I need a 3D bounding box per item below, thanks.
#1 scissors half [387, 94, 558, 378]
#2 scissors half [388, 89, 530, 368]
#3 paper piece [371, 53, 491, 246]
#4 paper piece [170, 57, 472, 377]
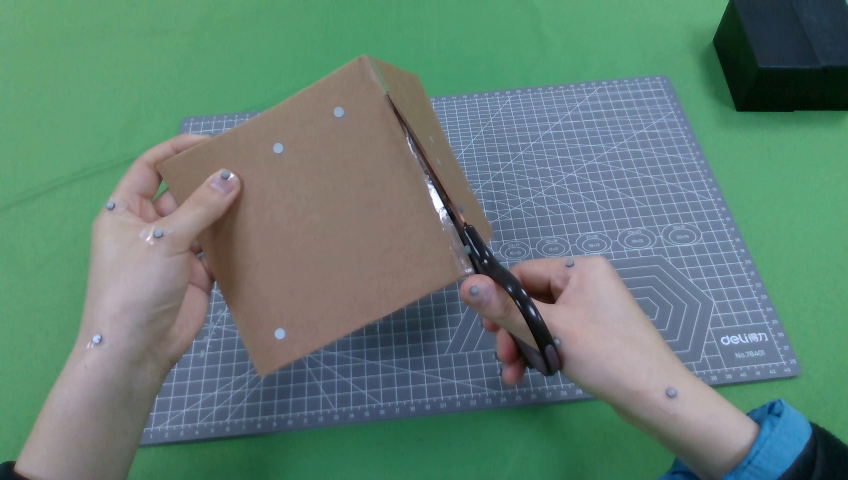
[{"bbox_3d":[0.023,-0.007,0.320,0.013,0.040,0.174,-28,76,-9],"label":"scissors half"},{"bbox_3d":[0.021,-0.005,0.342,0.013,0.040,0.175,-28,99,-4],"label":"scissors half"},{"bbox_3d":[0.013,-0.056,0.403,0.004,0.135,0.135,-25,95,14],"label":"paper piece"},{"bbox_3d":[-0.063,-0.013,0.337,0.138,0.009,0.135,-26,79,11],"label":"paper piece"}]
